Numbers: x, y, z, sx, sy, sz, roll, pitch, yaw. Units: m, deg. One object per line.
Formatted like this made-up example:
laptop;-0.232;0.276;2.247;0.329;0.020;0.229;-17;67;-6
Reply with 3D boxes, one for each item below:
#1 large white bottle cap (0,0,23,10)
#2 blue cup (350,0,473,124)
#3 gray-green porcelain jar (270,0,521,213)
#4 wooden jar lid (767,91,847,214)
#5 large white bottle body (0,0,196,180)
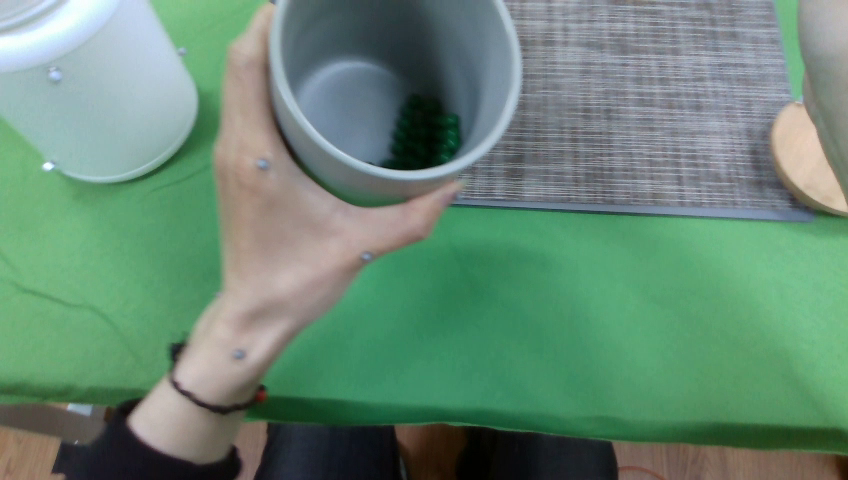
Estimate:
large white bottle cap;-0.258;-0.175;0.347;0.115;0.018;0.114;0;66;1
blue cup;-0.006;-0.141;0.461;0.092;0.101;0.092;-1;66;3
gray-green porcelain jar;-0.024;-0.071;0.308;0.106;0.126;0.105;1;85;-14
wooden jar lid;0.317;-0.066;0.469;0.108;0.021;0.107;1;66;-2
large white bottle body;-0.255;-0.140;0.424;0.130;0.186;0.129;0;66;1
